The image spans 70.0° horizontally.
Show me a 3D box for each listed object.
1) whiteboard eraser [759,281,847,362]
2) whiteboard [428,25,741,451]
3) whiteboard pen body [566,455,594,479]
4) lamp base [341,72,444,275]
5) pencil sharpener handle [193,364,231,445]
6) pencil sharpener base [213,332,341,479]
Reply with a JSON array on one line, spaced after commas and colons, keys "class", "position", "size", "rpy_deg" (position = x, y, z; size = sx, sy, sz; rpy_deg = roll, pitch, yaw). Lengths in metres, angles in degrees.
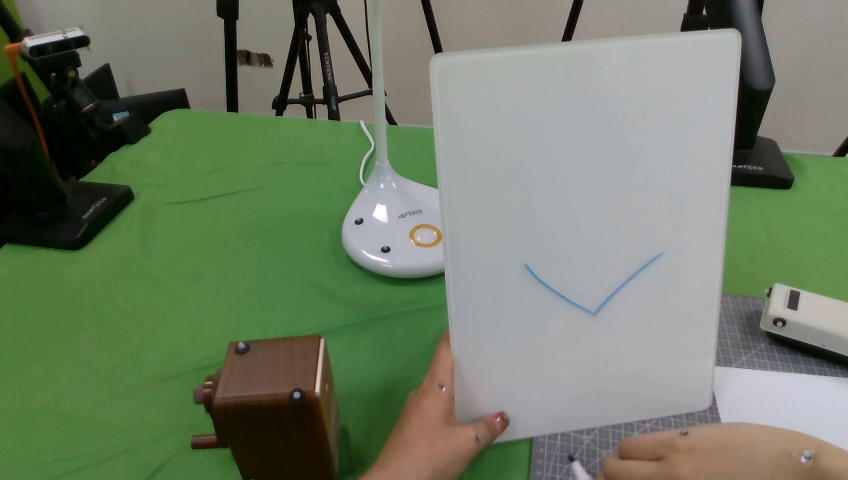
[{"class": "whiteboard eraser", "position": [0.369, 0.078, 0.550], "size": [0.112, 0.042, 0.055], "rpy_deg": [19, 43, 25]}, {"class": "whiteboard", "position": [0.114, -0.009, 0.510], "size": [0.217, 0.307, 0.143], "rpy_deg": [-7, 19, -5]}, {"class": "whiteboard pen body", "position": [0.134, 0.204, 0.409], "size": [0.017, 0.017, 0.139], "rpy_deg": [-15, 42, -16]}, {"class": "lamp base", "position": [-0.025, -0.080, 0.661], "size": [0.161, 0.182, 0.177], "rpy_deg": [-25, 41, -27]}, {"class": "pencil sharpener handle", "position": [-0.158, 0.123, 0.442], "size": [0.031, 0.068, 0.035], "rpy_deg": [-4, 26, -2]}, {"class": "pencil sharpener base", "position": [-0.107, 0.128, 0.455], "size": [0.077, 0.108, 0.060], "rpy_deg": [-4, 38, -2]}]
